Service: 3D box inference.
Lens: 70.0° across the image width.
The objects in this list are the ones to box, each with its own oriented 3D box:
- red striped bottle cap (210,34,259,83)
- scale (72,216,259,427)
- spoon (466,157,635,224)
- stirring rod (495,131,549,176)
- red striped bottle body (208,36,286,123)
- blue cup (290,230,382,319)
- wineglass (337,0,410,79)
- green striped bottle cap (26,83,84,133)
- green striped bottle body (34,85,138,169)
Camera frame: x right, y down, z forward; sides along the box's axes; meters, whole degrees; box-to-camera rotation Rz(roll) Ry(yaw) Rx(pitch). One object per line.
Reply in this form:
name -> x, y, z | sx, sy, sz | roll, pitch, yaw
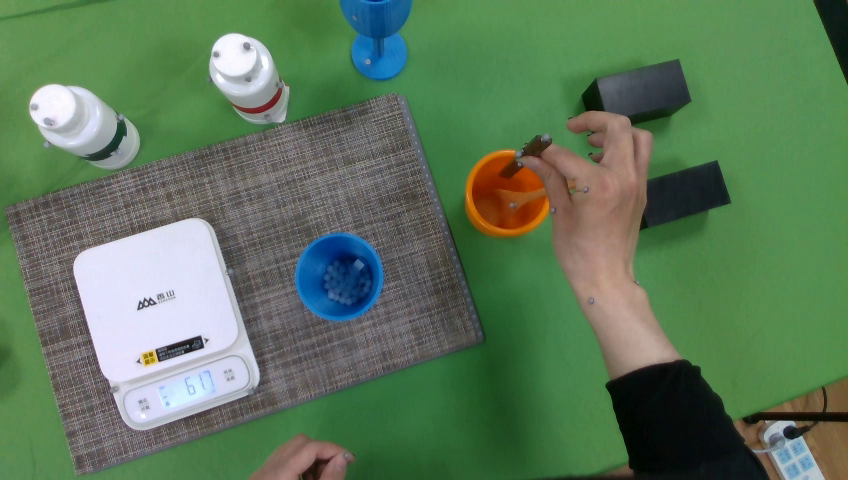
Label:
red striped bottle cap -> -0.182, -0.175, 0.582 | 0.044, 0.018, 0.044 | 0, 83, -3
scale -> -0.273, 0.086, 0.645 | 0.149, 0.031, 0.200 | -19, 86, -5
spoon -> 0.125, -0.053, 0.631 | 0.022, 0.193, 0.041 | -13, 89, -49
stirring rod -> 0.085, -0.075, 0.549 | 0.014, 0.176, 0.006 | 11, 86, -2
red striped bottle body -> -0.186, -0.169, 0.635 | 0.063, 0.120, 0.063 | 0, 84, -4
blue cup -> -0.084, 0.038, 0.627 | 0.093, 0.100, 0.092 | 0, 84, -2
wineglass -> -0.051, -0.230, 0.624 | 0.074, 0.172, 0.073 | 0, 84, -3
green striped bottle cap -> -0.344, -0.123, 0.564 | 0.044, 0.020, 0.044 | 0, 84, -2
green striped bottle body -> -0.347, -0.116, 0.619 | 0.063, 0.119, 0.063 | 0, 84, -4
